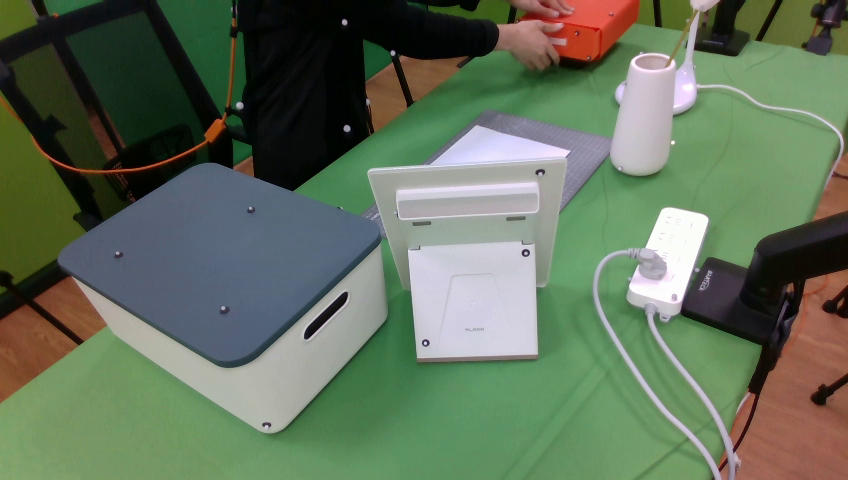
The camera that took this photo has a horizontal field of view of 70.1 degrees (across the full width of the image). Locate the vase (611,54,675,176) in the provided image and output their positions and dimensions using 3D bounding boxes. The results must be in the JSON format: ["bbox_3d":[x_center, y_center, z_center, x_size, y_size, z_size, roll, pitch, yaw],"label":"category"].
[{"bbox_3d":[0.377,-0.209,1.031,0.098,0.201,0.097,-4,40,3],"label":"vase"}]

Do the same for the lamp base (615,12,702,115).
[{"bbox_3d":[0.484,-0.363,1.211,0.180,0.181,0.159,-15,41,-14],"label":"lamp base"}]

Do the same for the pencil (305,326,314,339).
[{"bbox_3d":[-0.187,0.106,0.880,0.012,0.012,0.192,-27,42,-22],"label":"pencil"}]

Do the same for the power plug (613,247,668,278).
[{"bbox_3d":[0.306,0.032,0.851,0.072,0.053,0.035,24,49,34],"label":"power plug"}]

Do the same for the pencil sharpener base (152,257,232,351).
[{"bbox_3d":[-0.322,0.088,0.841,0.061,0.107,0.076,-28,44,-20],"label":"pencil sharpener base"}]

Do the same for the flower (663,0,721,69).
[{"bbox_3d":[0.379,-0.261,0.965,0.044,0.362,0.038,20,52,5],"label":"flower"}]

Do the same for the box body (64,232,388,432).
[{"bbox_3d":[-0.256,0.065,0.827,0.361,0.161,0.255,20,48,29],"label":"box body"}]

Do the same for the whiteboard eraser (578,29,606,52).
[{"bbox_3d":[0.391,-0.461,1.405,0.055,0.042,0.113,-1,10,21],"label":"whiteboard eraser"}]

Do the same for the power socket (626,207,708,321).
[{"bbox_3d":[0.359,0.025,0.886,0.072,0.033,0.227,16,46,26],"label":"power socket"}]

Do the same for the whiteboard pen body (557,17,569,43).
[{"bbox_3d":[0.326,-0.491,1.415,0.017,0.017,0.140,-2,41,6],"label":"whiteboard pen body"}]

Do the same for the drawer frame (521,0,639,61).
[{"bbox_3d":[0.364,-0.516,1.420,0.200,0.083,0.214,22,50,31],"label":"drawer frame"}]

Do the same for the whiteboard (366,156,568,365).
[{"bbox_3d":[0.059,0.050,0.738,0.217,0.307,0.143,-2,60,6],"label":"whiteboard"}]

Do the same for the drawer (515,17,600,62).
[{"bbox_3d":[0.346,-0.500,1.400,0.193,0.073,0.212,22,48,31],"label":"drawer"}]

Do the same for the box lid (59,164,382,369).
[{"bbox_3d":[-0.263,0.010,0.777,0.368,0.015,0.264,20,47,29],"label":"box lid"}]

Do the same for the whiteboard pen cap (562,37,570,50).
[{"bbox_3d":[0.323,-0.447,1.375,0.018,0.018,0.033,-1,43,7],"label":"whiteboard pen cap"}]

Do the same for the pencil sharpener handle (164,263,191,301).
[{"bbox_3d":[-0.354,0.055,0.866,0.036,0.068,0.030,-17,39,-29],"label":"pencil sharpener handle"}]
